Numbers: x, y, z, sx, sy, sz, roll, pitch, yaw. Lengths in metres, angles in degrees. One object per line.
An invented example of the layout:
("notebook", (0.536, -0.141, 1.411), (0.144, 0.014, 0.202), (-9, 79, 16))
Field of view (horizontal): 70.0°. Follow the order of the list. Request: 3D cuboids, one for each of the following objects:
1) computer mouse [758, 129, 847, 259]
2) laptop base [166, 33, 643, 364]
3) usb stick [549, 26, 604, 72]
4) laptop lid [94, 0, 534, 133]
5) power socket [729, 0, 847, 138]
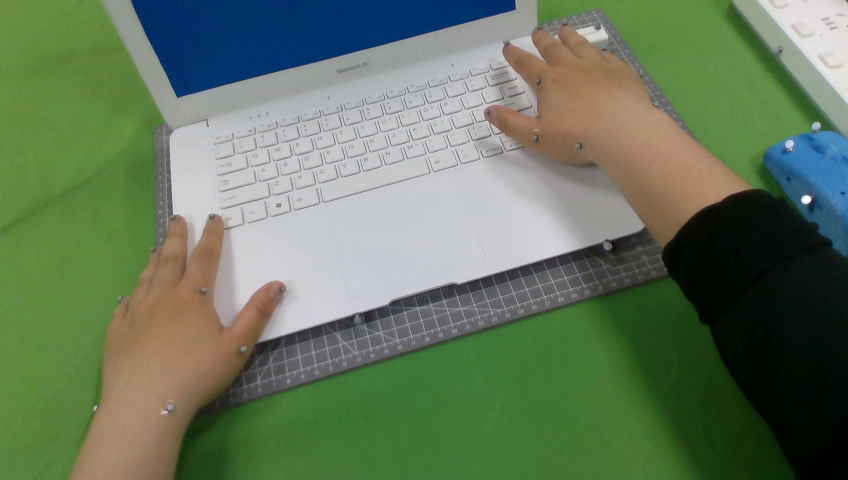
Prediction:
("computer mouse", (0.303, -0.040, 0.443), (0.063, 0.041, 0.116), (-17, 50, -1))
("laptop base", (-0.033, -0.050, 0.502), (0.354, 0.023, 0.233), (-16, 60, -4))
("usb stick", (0.131, -0.171, 0.549), (0.059, 0.027, 0.021), (-18, 57, 0))
("laptop lid", (-0.083, -0.225, 0.486), (0.357, 0.244, 0.013), (-17, 43, -3))
("power socket", (0.346, -0.170, 0.527), (0.072, 0.033, 0.224), (-13, 56, -1))
